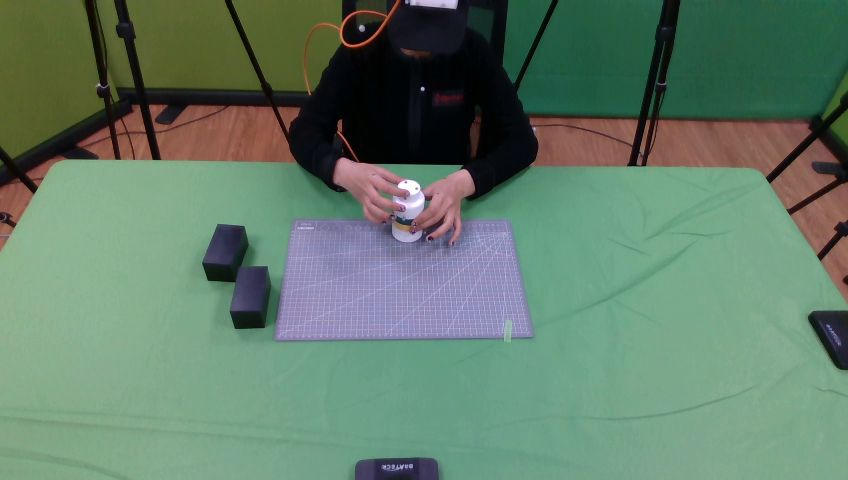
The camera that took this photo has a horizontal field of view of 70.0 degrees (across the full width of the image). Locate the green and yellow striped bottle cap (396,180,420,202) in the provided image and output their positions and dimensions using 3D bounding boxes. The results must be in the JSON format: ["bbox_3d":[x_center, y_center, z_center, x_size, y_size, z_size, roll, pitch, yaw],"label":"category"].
[{"bbox_3d":[-0.029,-0.093,1.140,0.045,0.020,0.045,3,45,-3],"label":"green and yellow striped bottle cap"}]

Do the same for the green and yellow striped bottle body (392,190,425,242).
[{"bbox_3d":[-0.030,-0.058,1.178,0.063,0.120,0.063,2,46,-2],"label":"green and yellow striped bottle body"}]
